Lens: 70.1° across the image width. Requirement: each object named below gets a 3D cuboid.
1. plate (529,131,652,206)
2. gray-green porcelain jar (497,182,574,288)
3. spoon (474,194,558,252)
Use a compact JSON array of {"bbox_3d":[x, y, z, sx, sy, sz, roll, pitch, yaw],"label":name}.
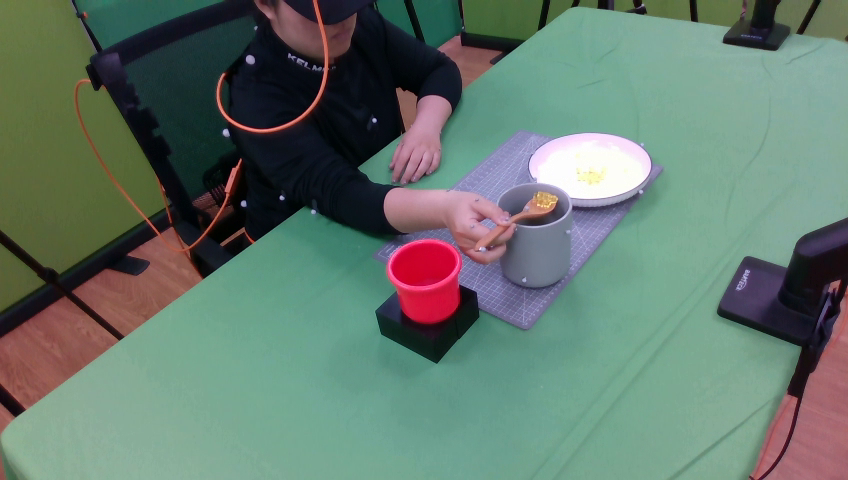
[{"bbox_3d":[0.287,-0.122,1.056,0.207,0.039,0.206,-5,40,5],"label":"plate"},{"bbox_3d":[0.160,-0.003,0.870,0.106,0.127,0.105,-5,40,5],"label":"gray-green porcelain jar"},{"bbox_3d":[0.120,-0.025,0.793,0.041,0.022,0.195,18,29,34],"label":"spoon"}]
